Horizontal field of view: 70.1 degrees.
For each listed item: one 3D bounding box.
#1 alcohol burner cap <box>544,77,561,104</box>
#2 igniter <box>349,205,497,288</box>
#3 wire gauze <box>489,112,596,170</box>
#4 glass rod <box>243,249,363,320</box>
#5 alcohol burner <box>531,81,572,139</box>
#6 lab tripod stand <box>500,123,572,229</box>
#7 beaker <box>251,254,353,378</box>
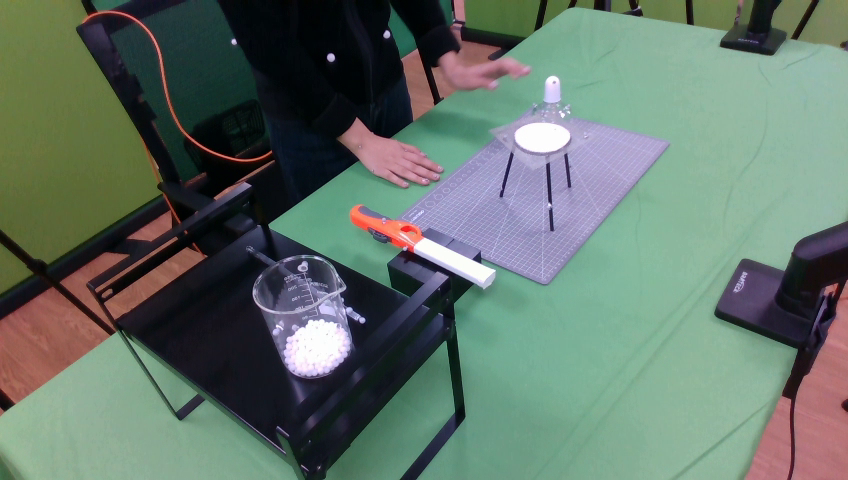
[{"bbox_3d":[0.243,-0.285,1.143,0.034,0.048,0.033,-4,37,4],"label":"alcohol burner cap"},{"bbox_3d":[-0.013,0.004,0.897,0.274,0.025,0.057,25,44,32],"label":"igniter"},{"bbox_3d":[0.183,-0.161,0.942,0.122,0.011,0.124,-24,44,-18],"label":"wire gauze"},{"bbox_3d":[-0.141,0.046,0.674,0.198,0.008,0.008,24,49,32],"label":"glass rod"},{"bbox_3d":[0.246,-0.256,1.165,0.078,0.119,0.077,-6,40,6],"label":"alcohol burner"},{"bbox_3d":[0.194,-0.110,0.985,0.148,0.132,0.147,-3,41,3],"label":"lab tripod stand"},{"bbox_3d":[-0.106,0.074,0.565,0.084,0.101,0.073,-1,41,8],"label":"beaker"}]
